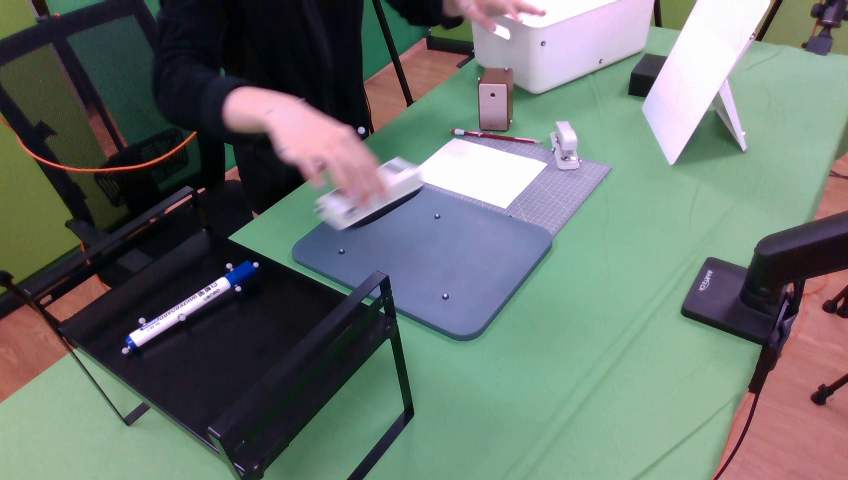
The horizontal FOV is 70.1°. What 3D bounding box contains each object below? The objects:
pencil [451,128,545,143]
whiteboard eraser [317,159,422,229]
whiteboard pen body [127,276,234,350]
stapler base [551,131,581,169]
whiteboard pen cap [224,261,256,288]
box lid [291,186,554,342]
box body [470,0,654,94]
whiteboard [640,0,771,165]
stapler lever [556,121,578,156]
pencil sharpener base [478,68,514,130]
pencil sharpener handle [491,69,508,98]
[{"bbox_3d":[0.145,-0.207,1.204,0.193,0.012,0.012,11,44,20],"label":"pencil"},{"bbox_3d":[-0.060,-0.050,0.683,0.113,0.042,0.055,-30,41,-27],"label":"whiteboard eraser"},{"bbox_3d":[-0.251,0.070,0.649,0.141,0.017,0.017,-36,48,-25],"label":"whiteboard pen body"},{"bbox_3d":[0.268,-0.178,1.142,0.041,0.024,0.130,0,37,3],"label":"stapler base"},{"bbox_3d":[-0.207,0.039,0.677,0.033,0.018,0.018,-35,47,-19],"label":"whiteboard pen cap"},{"bbox_3d":[-0.005,0.011,0.971,0.368,0.015,0.264,21,49,30],"label":"box lid"},{"bbox_3d":[0.319,-0.498,1.405,0.365,0.161,0.252,-26,43,-21],"label":"box body"},{"bbox_3d":[0.543,-0.299,1.076,0.144,0.305,0.216,12,40,-7],"label":"whiteboard"},{"bbox_3d":[0.266,-0.198,1.128,0.027,0.040,0.117,0,38,3],"label":"stapler lever"},{"bbox_3d":[0.148,-0.286,1.225,0.061,0.107,0.076,5,41,15],"label":"pencil sharpener base"},{"bbox_3d":[0.155,-0.329,1.254,0.036,0.068,0.030,17,43,4],"label":"pencil sharpener handle"}]
